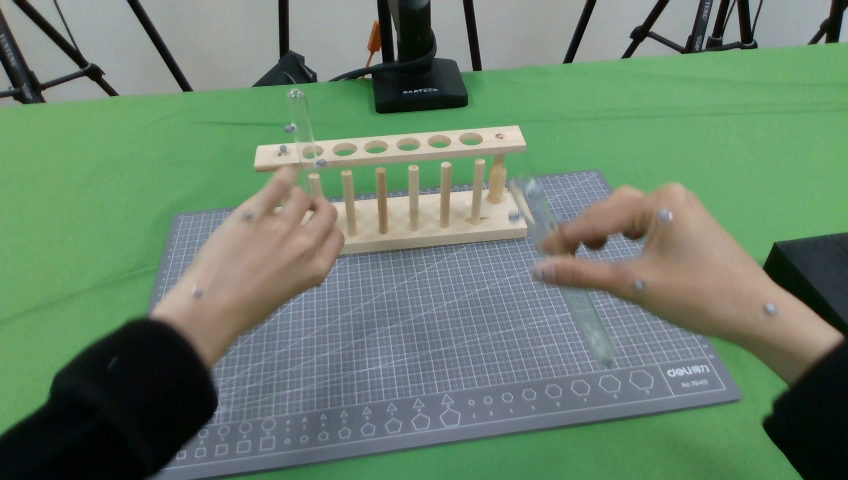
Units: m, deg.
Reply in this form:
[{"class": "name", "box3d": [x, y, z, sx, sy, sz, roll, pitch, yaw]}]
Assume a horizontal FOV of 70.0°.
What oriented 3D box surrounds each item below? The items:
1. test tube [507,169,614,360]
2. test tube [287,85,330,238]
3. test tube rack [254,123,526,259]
[{"class": "test tube", "box3d": [0.085, 0.020, 0.361, 0.017, 0.152, 0.017, -23, 31, 15]}, {"class": "test tube", "box3d": [-0.097, -0.062, 0.517, 0.017, 0.152, 0.017, -1, 41, 1]}, {"class": "test tube rack", "box3d": [-0.028, -0.046, 0.565, 0.242, 0.086, 0.066, -5, 42, -4]}]
